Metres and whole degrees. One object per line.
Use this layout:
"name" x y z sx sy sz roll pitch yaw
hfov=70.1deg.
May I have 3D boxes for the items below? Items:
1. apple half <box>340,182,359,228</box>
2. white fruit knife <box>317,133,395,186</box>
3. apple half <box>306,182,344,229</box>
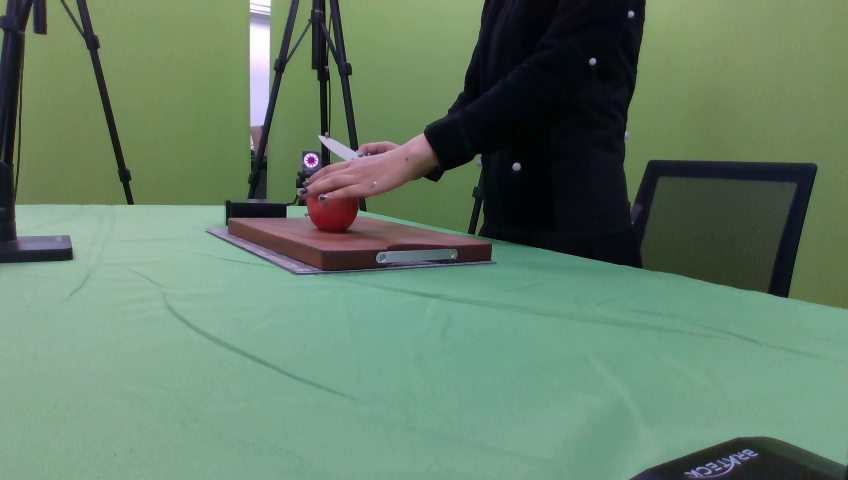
"apple half" -0.120 -0.056 0.963 0.033 0.081 0.081 -4 9 -20
"white fruit knife" -0.114 -0.143 1.058 0.016 0.027 0.208 7 -11 37
"apple half" -0.158 -0.054 0.950 0.053 0.074 0.080 -5 13 -19
